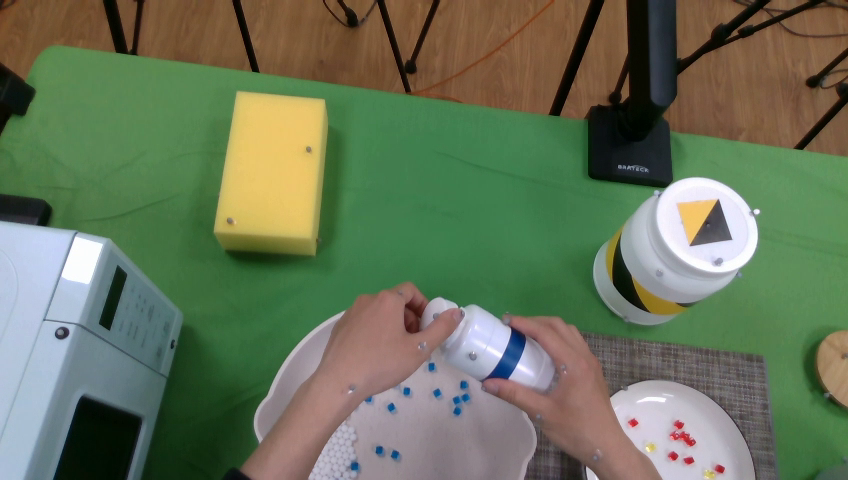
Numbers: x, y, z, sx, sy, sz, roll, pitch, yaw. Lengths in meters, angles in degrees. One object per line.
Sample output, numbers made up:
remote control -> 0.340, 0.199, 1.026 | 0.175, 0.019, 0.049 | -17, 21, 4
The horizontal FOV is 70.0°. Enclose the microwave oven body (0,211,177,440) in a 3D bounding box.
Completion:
microwave oven body -> -0.462, 0.208, 0.541 | 0.326, 0.261, 0.438 | 8, 68, -3

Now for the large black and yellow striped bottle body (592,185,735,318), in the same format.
large black and yellow striped bottle body -> 0.296, 0.012, 0.742 | 0.131, 0.185, 0.130 | 2, 68, -4

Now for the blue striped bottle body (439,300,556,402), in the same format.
blue striped bottle body -> 0.061, 0.101, 0.582 | 0.121, 0.063, 0.063 | 31, 67, -12

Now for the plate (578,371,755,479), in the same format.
plate -> 0.281, 0.261, 0.717 | 0.209, 0.038, 0.207 | 2, 68, -5

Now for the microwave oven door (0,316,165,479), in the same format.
microwave oven door -> -0.324, 0.265, 0.527 | 0.039, 0.245, 0.353 | 8, 67, -3

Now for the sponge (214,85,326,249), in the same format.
sponge -> -0.198, -0.097, 0.800 | 0.118, 0.061, 0.205 | 3, 69, -5

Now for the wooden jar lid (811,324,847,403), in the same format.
wooden jar lid -> 0.560, 0.164, 0.797 | 0.108, 0.021, 0.107 | 2, 70, -4

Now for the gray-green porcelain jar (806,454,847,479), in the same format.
gray-green porcelain jar -> 0.511, 0.296, 0.683 | 0.106, 0.127, 0.105 | 2, 68, -5

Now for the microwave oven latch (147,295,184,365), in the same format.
microwave oven latch -> -0.304, 0.102, 0.703 | 0.030, 0.029, 0.078 | 10, 68, -2

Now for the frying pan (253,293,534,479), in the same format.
frying pan -> -0.042, 0.297, 0.635 | 0.307, 0.103, 0.483 | 7, 60, -1

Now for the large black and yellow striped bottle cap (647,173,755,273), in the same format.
large black and yellow striped bottle cap -> 0.303, -0.020, 0.663 | 0.115, 0.019, 0.114 | 2, 67, -5

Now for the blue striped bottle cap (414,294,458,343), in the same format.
blue striped bottle cap -> 0.011, 0.073, 0.569 | 0.021, 0.044, 0.044 | 31, 64, -30
